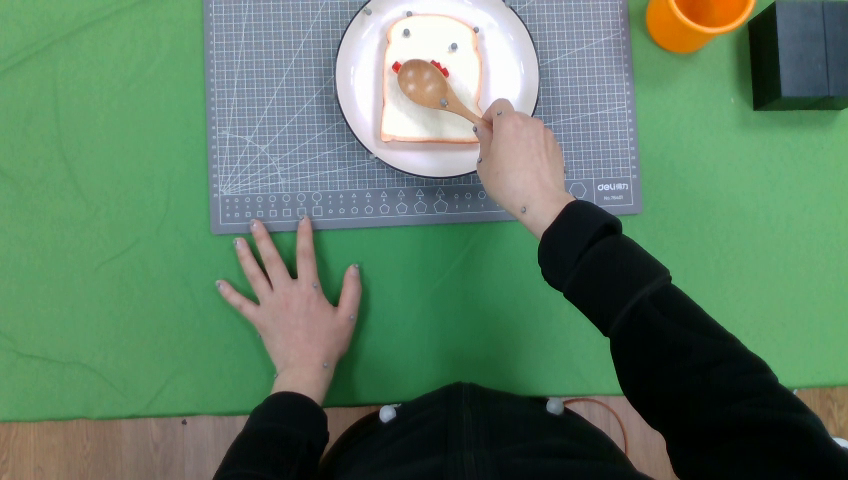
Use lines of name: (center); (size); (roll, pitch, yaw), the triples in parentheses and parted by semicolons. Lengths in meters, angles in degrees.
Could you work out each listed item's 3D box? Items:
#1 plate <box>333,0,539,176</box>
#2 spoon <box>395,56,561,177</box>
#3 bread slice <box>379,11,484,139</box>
plate: (0.013, -0.166, 0.623); (0.209, 0.038, 0.208); (0, 86, -3)
spoon: (0.050, -0.116, 0.578); (0.192, 0.022, 0.041); (38, 85, 17)
bread slice: (0.005, -0.168, 0.624); (0.107, 0.018, 0.134); (-3, 86, -4)
